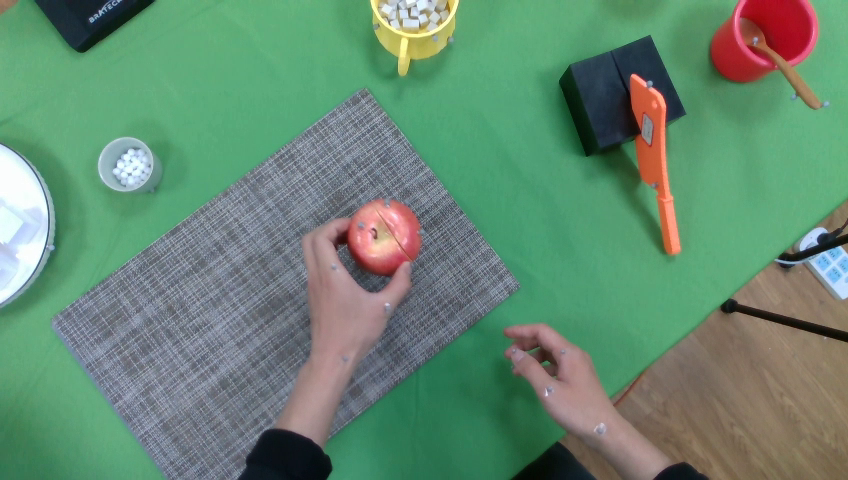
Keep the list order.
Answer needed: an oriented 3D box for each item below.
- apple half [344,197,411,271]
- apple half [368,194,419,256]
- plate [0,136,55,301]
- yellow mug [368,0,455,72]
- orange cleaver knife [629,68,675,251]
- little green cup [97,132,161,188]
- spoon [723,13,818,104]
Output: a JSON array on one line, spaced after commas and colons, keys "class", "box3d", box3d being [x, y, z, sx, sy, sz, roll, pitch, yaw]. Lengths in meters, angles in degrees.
[{"class": "apple half", "box3d": [-0.056, 0.001, 0.648, 0.053, 0.075, 0.080, -35, 87, 2]}, {"class": "apple half", "box3d": [-0.025, -0.022, 0.649, 0.033, 0.081, 0.081, -35, 87, 0]}, {"class": "plate", "box3d": [-0.515, -0.022, 0.678, 0.208, 0.039, 0.207, 0, 86, -2]}, {"class": "yellow mug", "box3d": [-0.018, -0.259, 0.698, 0.100, 0.064, 0.130, 10, 87, -1]}, {"class": "orange cleaver knife", "box3d": [0.258, -0.088, 0.689, 0.012, 0.076, 0.213, -18, 117, 0]}, {"class": "little green cup", "box3d": [-0.332, -0.088, 0.689, 0.061, 0.038, 0.061, 0, 86, -1]}, {"class": "spoon", "box3d": [0.382, -0.205, 0.670, 0.041, 0.022, 0.191, -2, 41, -1]}]
